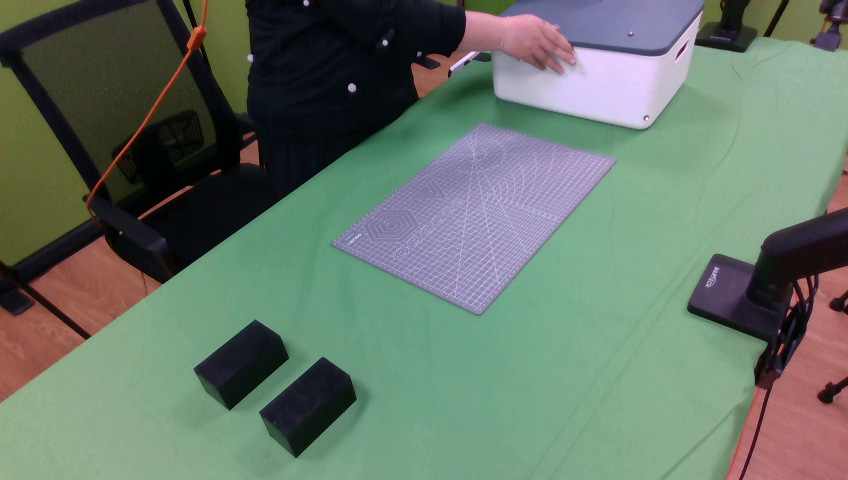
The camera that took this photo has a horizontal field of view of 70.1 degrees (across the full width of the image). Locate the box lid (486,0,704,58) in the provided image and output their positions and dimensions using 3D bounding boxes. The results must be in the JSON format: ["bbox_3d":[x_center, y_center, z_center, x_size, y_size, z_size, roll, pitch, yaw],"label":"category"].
[{"bbox_3d":[0.337,-0.440,1.204,0.368,0.015,0.264,19,48,30],"label":"box lid"}]

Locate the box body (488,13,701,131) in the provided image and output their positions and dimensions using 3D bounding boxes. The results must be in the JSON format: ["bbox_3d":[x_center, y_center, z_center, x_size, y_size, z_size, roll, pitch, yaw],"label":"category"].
[{"bbox_3d":[0.345,-0.379,1.257,0.361,0.161,0.255,20,48,29],"label":"box body"}]
